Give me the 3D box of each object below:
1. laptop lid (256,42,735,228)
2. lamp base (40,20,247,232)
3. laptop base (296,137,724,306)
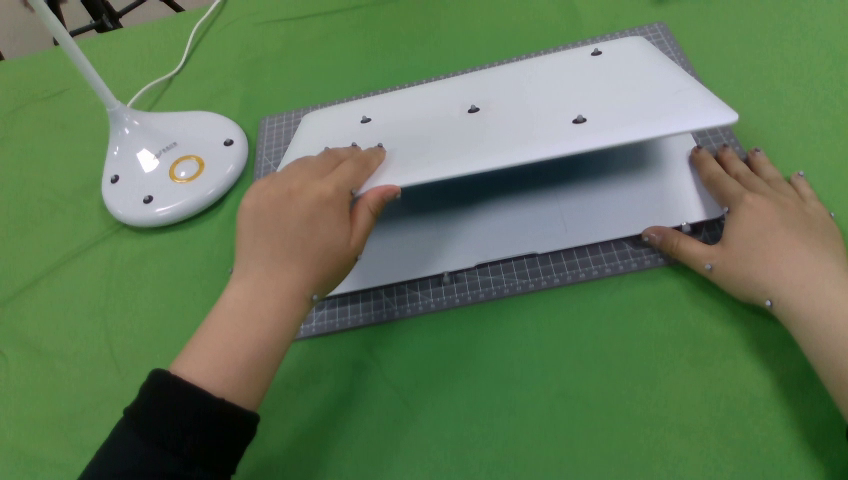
[{"bbox_3d":[0.043,-0.104,0.525,0.356,0.013,0.239,-11,30,7],"label":"laptop lid"},{"bbox_3d":[-0.293,-0.123,0.595,0.178,0.182,0.160,21,60,31],"label":"lamp base"},{"bbox_3d":[0.055,-0.066,0.561,0.354,0.023,0.233,-12,54,6],"label":"laptop base"}]
